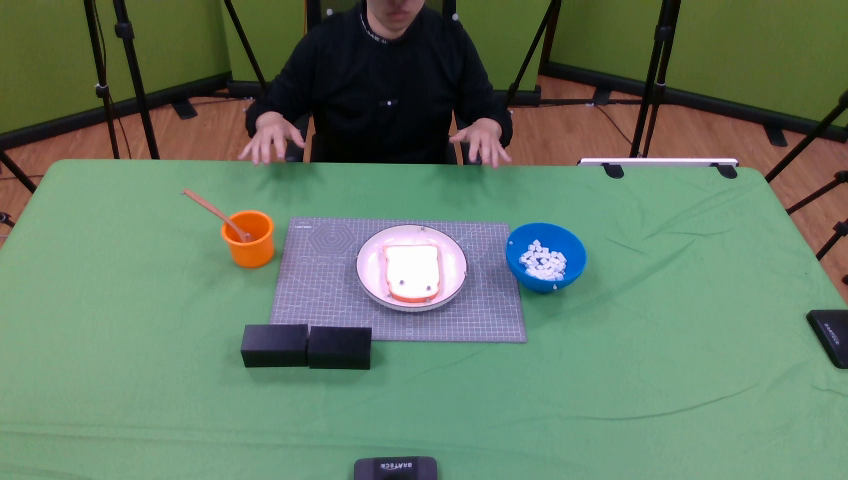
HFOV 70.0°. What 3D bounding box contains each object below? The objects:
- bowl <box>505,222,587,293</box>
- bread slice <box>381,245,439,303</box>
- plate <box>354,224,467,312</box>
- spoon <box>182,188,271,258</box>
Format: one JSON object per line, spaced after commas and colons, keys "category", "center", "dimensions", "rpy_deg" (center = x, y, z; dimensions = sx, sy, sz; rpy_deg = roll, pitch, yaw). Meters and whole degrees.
{"category": "bowl", "center": [0.221, 0.045, 1.132], "dimensions": [0.151, 0.077, 0.150], "rpy_deg": [2, 46, -2]}
{"category": "bread slice", "center": [-0.022, 0.061, 1.126], "dimensions": [0.107, 0.018, 0.133], "rpy_deg": [-3, 45, -8]}
{"category": "plate", "center": [-0.025, 0.055, 1.128], "dimensions": [0.209, 0.038, 0.208], "rpy_deg": [3, 46, -2]}
{"category": "spoon", "center": [-0.361, -0.032, 1.113], "dimensions": [0.021, 0.194, 0.041], "rpy_deg": [-26, 30, 35]}
